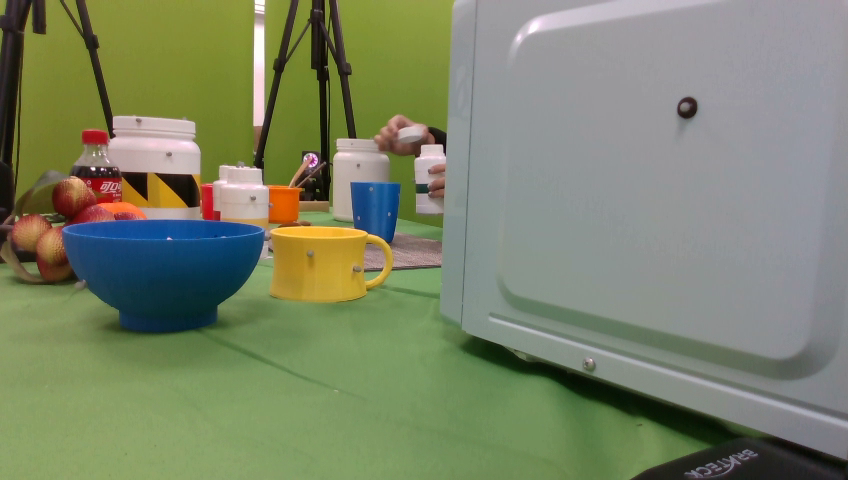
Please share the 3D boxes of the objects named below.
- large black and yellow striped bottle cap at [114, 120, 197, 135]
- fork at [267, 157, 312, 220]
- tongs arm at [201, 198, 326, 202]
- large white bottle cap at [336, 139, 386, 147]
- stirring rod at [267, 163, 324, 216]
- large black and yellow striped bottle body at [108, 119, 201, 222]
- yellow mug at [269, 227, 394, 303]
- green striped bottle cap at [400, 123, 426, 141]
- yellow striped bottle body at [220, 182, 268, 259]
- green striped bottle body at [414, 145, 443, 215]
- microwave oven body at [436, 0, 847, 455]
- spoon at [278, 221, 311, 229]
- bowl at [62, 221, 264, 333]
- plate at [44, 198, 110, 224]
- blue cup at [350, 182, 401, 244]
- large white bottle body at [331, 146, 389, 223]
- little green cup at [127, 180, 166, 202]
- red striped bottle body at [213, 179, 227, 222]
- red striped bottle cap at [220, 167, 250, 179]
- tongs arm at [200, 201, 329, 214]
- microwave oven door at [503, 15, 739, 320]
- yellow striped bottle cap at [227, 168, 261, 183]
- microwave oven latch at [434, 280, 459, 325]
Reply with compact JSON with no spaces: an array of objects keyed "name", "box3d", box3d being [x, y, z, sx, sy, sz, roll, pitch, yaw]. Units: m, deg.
[{"name":"large black and yellow striped bottle cap","box3d":[-0.407,-0.171,0.920,0.115,0.019,0.115,2,9,0]},{"name":"fork","box3d":[-0.289,-0.116,1.321,0.028,0.019,0.207,6,51,19]},{"name":"tongs arm","box3d":[-0.433,-0.090,1.508,0.390,0.028,0.028,-1,2,-29]},{"name":"large white bottle cap","box3d":[-0.143,-0.219,1.375,0.115,0.018,0.115,2,8,0]},{"name":"stirring rod","box3d":[-0.278,-0.105,1.294,0.176,0.006,0.014,-47,25,-18]},{"name":"large black and yellow striped bottle body","box3d":[-0.412,-0.088,0.930,0.131,0.184,0.130,3,7,0]},{"name":"yellow mug","box3d":[-0.094,0.023,0.629,0.131,0.064,0.099,0,7,-22]},{"name":"green striped bottle cap","box3d":[-0.020,-0.191,1.071,0.044,0.020,0.044,-22,4,2]},{"name":"yellow striped bottle body","box3d":[-0.246,-0.036,0.825,0.063,0.120,0.063,3,8,0]},{"name":"green striped bottle body","box3d":[0.015,-0.105,1.047,0.063,0.119,0.063,-1,7,0]},{"name":"microwave oven body","box3d":[0.279,-0.040,0.465,0.444,0.260,0.324,-3,9,-41]},{"name":"spoon","box3d":[-0.232,-0.027,1.116,0.041,0.021,0.193,-22,6,4]},{"name":"bowl","box3d":[-0.209,0.029,0.496,0.151,0.077,0.151,2,7,0]},{"name":"plate","box3d":[-0.617,-0.056,1.179,0.209,0.038,0.209,3,7,0]},{"name":"blue cup","box3d":[-0.082,-0.046,1.009,0.093,0.100,0.092,2,6,0]},{"name":"large white bottle body","box3d":[-0.146,-0.136,1.388,0.131,0.184,0.130,2,8,0]},{"name":"little green cup","box3d":[-0.486,-0.086,1.061,0.061,0.038,0.061,1,7,0]},{"name":"red striped bottle body","box3d":[-0.284,-0.048,0.909,0.063,0.119,0.063,3,12,0]},{"name":"red striped bottle cap","box3d":[-0.282,-0.100,0.901,0.044,0.017,0.044,0,5,0]},{"name":"tongs arm","box3d":[-0.378,-0.079,1.440,0.387,0.026,0.050,-4,8,-44]},{"name":"microwave oven door","box3d":[0.218,-0.065,0.600,0.358,0.243,0.039,-4,10,-41]},{"name":"yellow striped bottle cap","box3d":[-0.243,-0.087,0.818,0.044,0.018,0.044,3,6,0]},{"name":"microwave oven latch","box3d":[0.044,0.045,0.470,0.079,0.029,0.030,-2,8,-39]}]
